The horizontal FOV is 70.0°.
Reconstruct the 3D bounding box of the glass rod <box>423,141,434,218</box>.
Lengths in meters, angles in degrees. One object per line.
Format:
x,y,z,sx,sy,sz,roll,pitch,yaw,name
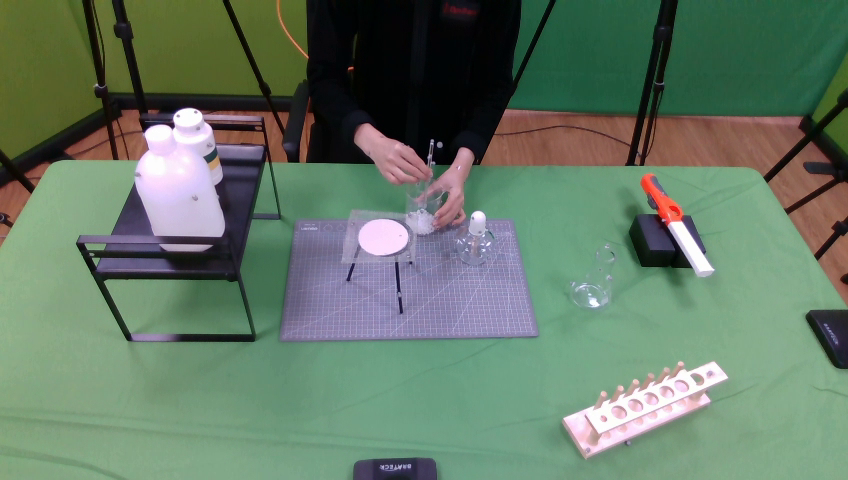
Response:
0.007,-0.110,1.162,0.008,0.200,0.008,3,48,-3,glass rod

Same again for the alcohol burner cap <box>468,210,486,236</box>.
0.099,-0.034,1.119,0.034,0.048,0.033,0,53,0,alcohol burner cap

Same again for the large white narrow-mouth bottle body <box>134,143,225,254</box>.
-0.358,-0.075,0.875,0.102,0.195,0.101,1,48,-1,large white narrow-mouth bottle body

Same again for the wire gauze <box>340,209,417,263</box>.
-0.074,-0.007,1.023,0.121,0.011,0.124,3,46,0,wire gauze

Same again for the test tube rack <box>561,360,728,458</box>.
0.341,0.247,0.940,0.243,0.085,0.066,-15,49,-18,test tube rack

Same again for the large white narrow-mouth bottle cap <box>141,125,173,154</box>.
-0.356,-0.134,0.810,0.038,0.024,0.037,1,48,-1,large white narrow-mouth bottle cap

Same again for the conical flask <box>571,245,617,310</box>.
0.313,0.064,1.089,0.075,0.122,0.075,2,46,-2,conical flask

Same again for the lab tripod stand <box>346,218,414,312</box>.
-0.070,0.037,1.075,0.148,0.132,0.147,1,47,-1,lab tripod stand

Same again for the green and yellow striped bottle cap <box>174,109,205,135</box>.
-0.369,-0.186,0.954,0.045,0.020,0.045,3,50,-3,green and yellow striped bottle cap

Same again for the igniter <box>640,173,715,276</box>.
0.495,-0.039,1.204,0.057,0.025,0.274,-2,47,-12,igniter

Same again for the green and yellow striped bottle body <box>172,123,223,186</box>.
-0.373,-0.148,0.994,0.063,0.120,0.063,2,46,-2,green and yellow striped bottle body

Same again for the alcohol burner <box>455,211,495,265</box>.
0.097,-0.010,1.147,0.078,0.120,0.077,1,47,0,alcohol burner

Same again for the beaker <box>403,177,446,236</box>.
-0.001,-0.065,1.202,0.084,0.101,0.073,-7,48,-11,beaker
